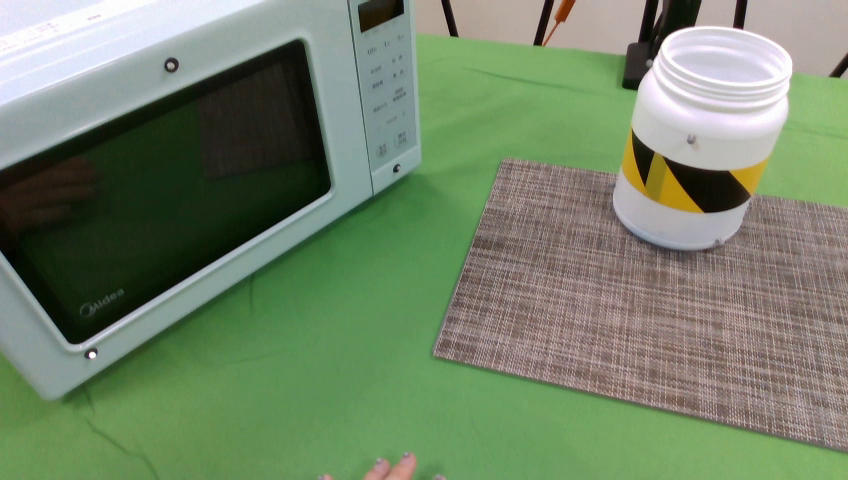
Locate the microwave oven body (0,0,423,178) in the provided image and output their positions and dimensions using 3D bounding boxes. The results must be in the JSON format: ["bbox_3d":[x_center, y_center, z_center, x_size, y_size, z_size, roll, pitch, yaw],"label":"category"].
[{"bbox_3d":[-0.268,-0.134,0.602,0.323,0.262,0.441,34,55,31],"label":"microwave oven body"}]

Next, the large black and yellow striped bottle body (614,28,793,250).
[{"bbox_3d":[0.266,-0.095,0.588,0.131,0.186,0.129,-1,44,2],"label":"large black and yellow striped bottle body"}]

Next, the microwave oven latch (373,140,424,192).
[{"bbox_3d":[-0.034,-0.087,0.681,0.079,0.030,0.030,-35,53,-28],"label":"microwave oven latch"}]

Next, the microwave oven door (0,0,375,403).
[{"bbox_3d":[-0.194,-0.048,0.502,0.039,0.246,0.355,33,54,32],"label":"microwave oven door"}]
